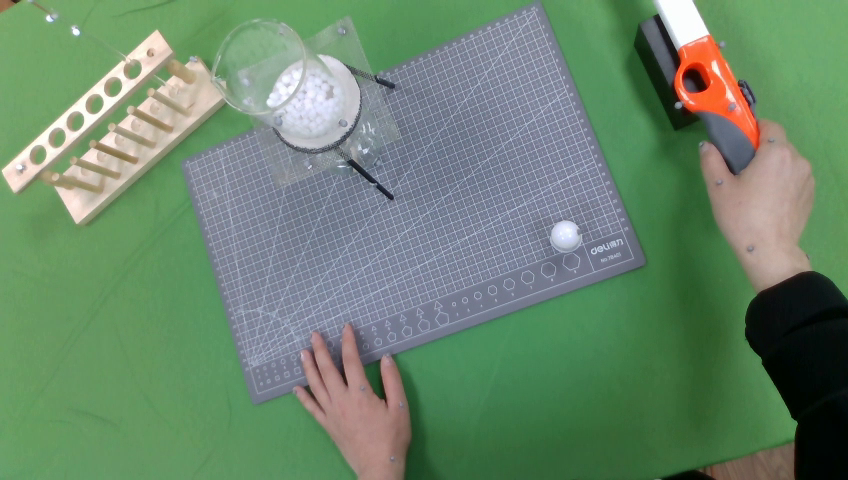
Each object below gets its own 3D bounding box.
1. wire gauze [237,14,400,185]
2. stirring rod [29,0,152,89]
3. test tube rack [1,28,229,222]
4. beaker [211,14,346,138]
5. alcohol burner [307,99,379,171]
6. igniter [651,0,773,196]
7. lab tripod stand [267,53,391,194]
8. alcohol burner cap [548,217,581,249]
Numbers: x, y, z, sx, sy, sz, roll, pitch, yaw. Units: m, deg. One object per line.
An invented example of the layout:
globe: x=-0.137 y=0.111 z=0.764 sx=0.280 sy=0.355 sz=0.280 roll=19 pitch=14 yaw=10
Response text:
wire gauze: x=-0.099 y=-0.125 z=0.547 sx=0.125 sy=0.011 sz=0.121 roll=-21 pitch=85 yaw=8
stirring rod: x=-0.335 y=-0.198 z=0.620 sx=0.006 sy=0.177 sz=0.014 roll=-36 pitch=72 yaw=1
test tube rack: x=-0.353 y=-0.125 z=0.698 sx=0.242 sy=0.085 sz=0.066 roll=-38 pitch=78 yaw=7
beaker: x=-0.115 y=-0.128 z=0.501 sx=0.084 sy=0.100 sz=0.074 roll=-8 pitch=84 yaw=12
alcohol burner: x=-0.089 y=-0.112 z=0.621 sx=0.078 sy=0.119 sz=0.077 roll=-1 pitch=84 yaw=11
igniter: x=0.246 y=-0.171 z=0.550 sx=0.057 sy=0.025 sz=0.275 roll=-22 pitch=79 yaw=11
lab tripod stand: x=-0.084 y=-0.118 z=0.611 sx=0.148 sy=0.132 sz=0.148 roll=-1 pitch=86 yaw=11
alcohol burner cap: x=0.139 y=-0.009 z=0.600 sx=0.034 sy=0.048 sz=0.034 roll=-1 pitch=84 yaw=12
